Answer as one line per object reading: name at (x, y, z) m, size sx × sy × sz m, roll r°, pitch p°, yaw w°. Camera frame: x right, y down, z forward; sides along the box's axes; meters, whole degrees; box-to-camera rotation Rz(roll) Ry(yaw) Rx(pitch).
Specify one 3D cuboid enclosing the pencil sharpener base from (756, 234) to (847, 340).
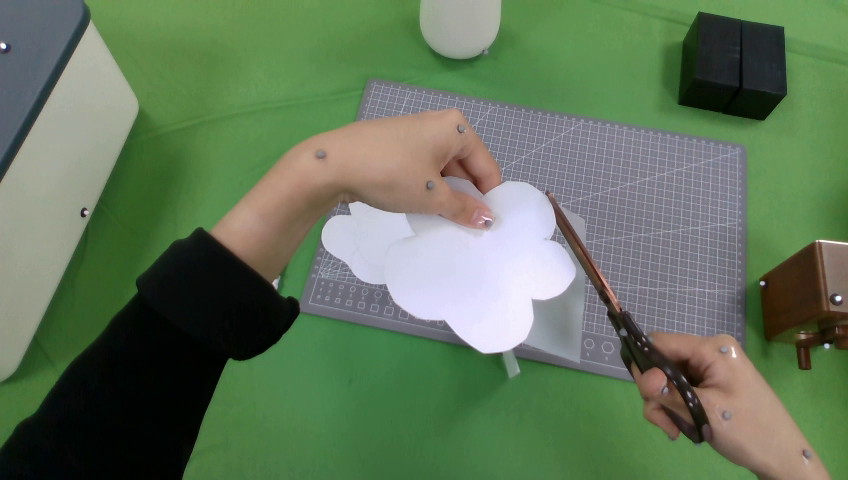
pencil sharpener base at (0.374, 0.051, 0.580) m, size 0.061 × 0.108 × 0.076 m, roll 7°, pitch 68°, yaw 2°

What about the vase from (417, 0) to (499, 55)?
vase at (0.040, -0.301, 0.670) m, size 0.098 × 0.201 × 0.097 m, roll 0°, pitch 66°, yaw 0°

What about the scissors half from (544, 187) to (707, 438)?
scissors half at (0.120, 0.042, 0.367) m, size 0.013 × 0.040 × 0.174 m, roll -30°, pitch 83°, yaw -9°

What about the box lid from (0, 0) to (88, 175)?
box lid at (-0.475, -0.097, 0.514) m, size 0.263 × 0.015 × 0.369 m, roll 11°, pitch 67°, yaw 3°

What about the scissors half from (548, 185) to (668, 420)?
scissors half at (0.118, 0.041, 0.388) m, size 0.013 × 0.040 × 0.176 m, roll -30°, pitch 104°, yaw -4°

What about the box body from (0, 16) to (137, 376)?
box body at (-0.476, -0.066, 0.582) m, size 0.254 × 0.161 × 0.361 m, roll 11°, pitch 68°, yaw 4°

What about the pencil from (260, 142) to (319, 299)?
pencil at (-0.142, -0.027, 0.656) m, size 0.012 × 0.012 × 0.193 m, roll 12°, pitch 66°, yaw 4°

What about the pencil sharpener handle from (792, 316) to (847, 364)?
pencil sharpener handle at (0.364, 0.093, 0.549) m, size 0.036 × 0.068 × 0.030 m, roll 12°, pitch 67°, yaw -11°

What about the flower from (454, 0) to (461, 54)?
flower at (0.036, -0.346, 0.598) m, size 0.044 × 0.365 × 0.038 m, roll 4°, pitch 49°, yaw 5°
